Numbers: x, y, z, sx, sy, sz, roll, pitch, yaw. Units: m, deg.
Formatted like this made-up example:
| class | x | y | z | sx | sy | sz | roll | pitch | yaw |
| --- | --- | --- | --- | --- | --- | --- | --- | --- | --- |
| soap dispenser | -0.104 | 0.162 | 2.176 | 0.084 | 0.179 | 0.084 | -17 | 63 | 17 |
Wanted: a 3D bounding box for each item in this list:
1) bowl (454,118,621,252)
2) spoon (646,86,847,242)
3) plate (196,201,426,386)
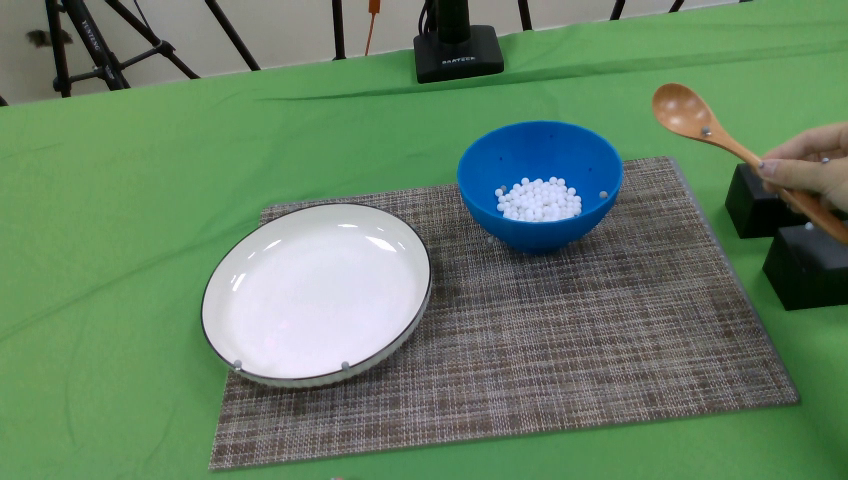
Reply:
| class | x | y | z | sx | sy | sz | roll | pitch | yaw |
| --- | --- | --- | --- | --- | --- | --- | --- | --- | --- |
| bowl | 0.106 | -0.042 | 0.580 | 0.151 | 0.077 | 0.150 | -4 | 46 | 5 |
| spoon | 0.252 | -0.064 | 0.479 | 0.041 | 0.022 | 0.191 | -30 | 57 | -18 |
| plate | -0.099 | 0.047 | 0.556 | 0.207 | 0.039 | 0.205 | -4 | 46 | 5 |
